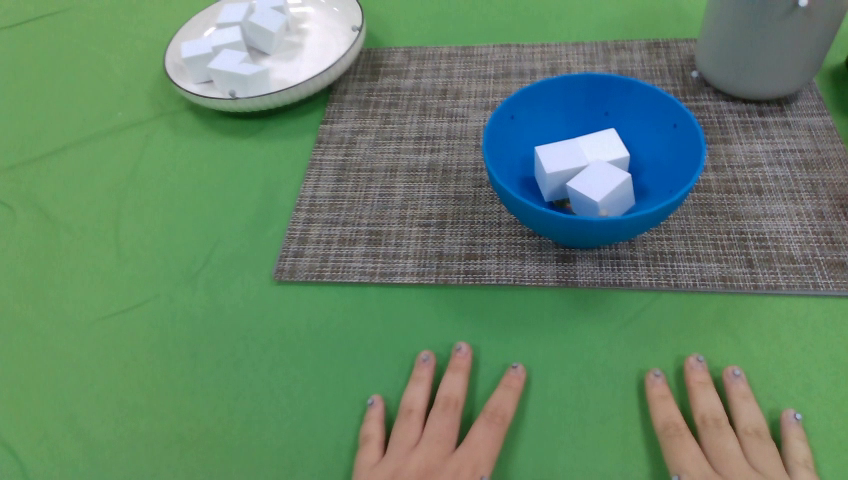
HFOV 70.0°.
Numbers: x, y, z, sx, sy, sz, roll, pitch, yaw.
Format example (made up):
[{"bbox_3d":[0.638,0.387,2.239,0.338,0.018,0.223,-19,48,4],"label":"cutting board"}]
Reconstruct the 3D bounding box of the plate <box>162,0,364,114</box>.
[{"bbox_3d":[-0.163,-0.198,0.630,0.209,0.038,0.207,-4,51,5],"label":"plate"}]

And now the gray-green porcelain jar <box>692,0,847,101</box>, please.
[{"bbox_3d":[0.291,-0.191,0.510,0.106,0.128,0.105,-4,52,5],"label":"gray-green porcelain jar"}]

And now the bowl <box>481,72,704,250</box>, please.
[{"bbox_3d":[0.118,-0.046,0.447,0.151,0.077,0.150,-3,52,4],"label":"bowl"}]
